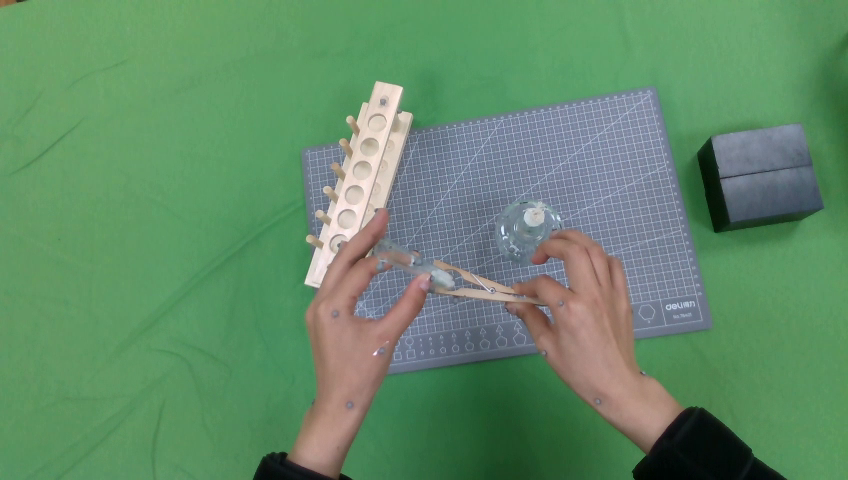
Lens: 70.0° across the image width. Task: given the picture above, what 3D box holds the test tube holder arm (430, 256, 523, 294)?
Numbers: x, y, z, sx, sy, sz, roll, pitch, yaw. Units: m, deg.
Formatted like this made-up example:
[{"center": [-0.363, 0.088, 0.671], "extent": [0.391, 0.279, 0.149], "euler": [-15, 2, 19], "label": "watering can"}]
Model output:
[{"center": [0.048, 0.035, 0.552], "extent": [0.087, 0.015, 0.010], "euler": [21, 83, 8], "label": "test tube holder arm"}]

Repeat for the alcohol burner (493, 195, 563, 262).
[{"center": [0.116, -0.017, 0.668], "extent": [0.078, 0.120, 0.077], "euler": [-1, 77, 5], "label": "alcohol burner"}]

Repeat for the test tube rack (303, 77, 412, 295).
[{"center": [-0.085, -0.064, 0.714], "extent": [0.066, 0.085, 0.241], "euler": [15, 80, 10], "label": "test tube rack"}]

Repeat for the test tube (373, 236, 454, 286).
[{"center": [-0.003, 0.020, 0.487], "extent": [0.017, 0.151, 0.017], "euler": [-4, 77, 20], "label": "test tube"}]

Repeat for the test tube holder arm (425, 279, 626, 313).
[{"center": [0.090, 0.050, 0.546], "extent": [0.178, 0.015, 0.013], "euler": [8, 82, 6], "label": "test tube holder arm"}]
